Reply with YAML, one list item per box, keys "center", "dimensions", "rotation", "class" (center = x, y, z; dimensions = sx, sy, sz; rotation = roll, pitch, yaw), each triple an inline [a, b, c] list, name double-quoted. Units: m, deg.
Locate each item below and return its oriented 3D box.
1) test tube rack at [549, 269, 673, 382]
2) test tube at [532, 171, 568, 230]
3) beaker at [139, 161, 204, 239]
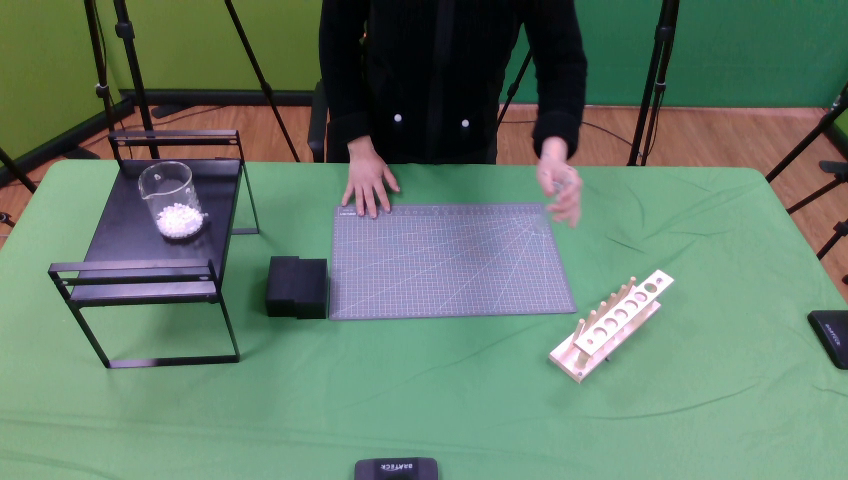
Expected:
- center: [0.325, 0.134, 1.047]
  dimensions: [0.242, 0.085, 0.066]
  rotation: [-32, 56, -30]
  class: "test tube rack"
- center: [0.201, -0.061, 0.978]
  dimensions: [0.017, 0.151, 0.017]
  rotation: [4, 58, -6]
  class: "test tube"
- center: [-0.382, -0.056, 0.920]
  dimensions: [0.074, 0.101, 0.084]
  rotation: [22, 49, 18]
  class: "beaker"
